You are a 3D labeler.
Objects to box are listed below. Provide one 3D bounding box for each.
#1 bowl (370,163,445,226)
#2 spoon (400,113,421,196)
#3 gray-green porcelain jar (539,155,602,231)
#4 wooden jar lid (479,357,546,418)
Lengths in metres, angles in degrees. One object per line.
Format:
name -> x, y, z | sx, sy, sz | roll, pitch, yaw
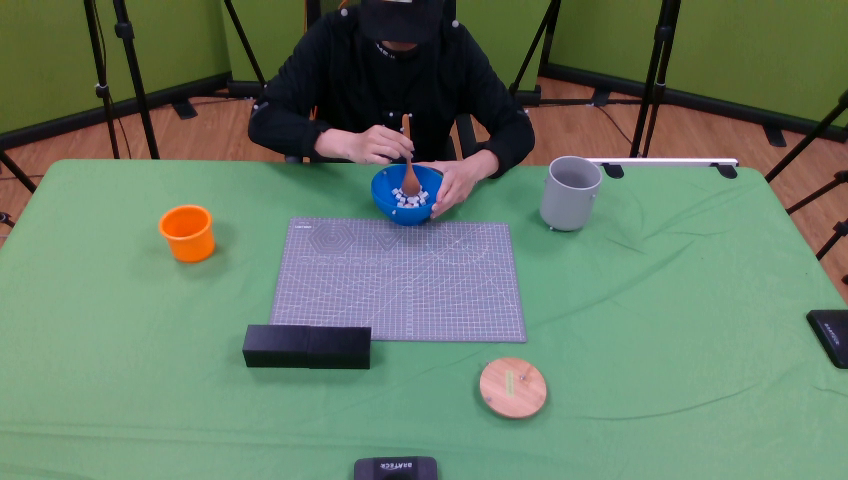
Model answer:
bowl -> -0.035, -0.082, 1.232 | 0.151, 0.077, 0.150 | 3, 43, -3
spoon -> -0.032, -0.163, 1.187 | 0.041, 0.195, 0.021 | -1, 39, 4
gray-green porcelain jar -> 0.294, -0.091, 1.235 | 0.106, 0.127, 0.105 | 2, 46, -2
wooden jar lid -> 0.142, 0.240, 0.979 | 0.108, 0.021, 0.107 | 1, 46, -1
